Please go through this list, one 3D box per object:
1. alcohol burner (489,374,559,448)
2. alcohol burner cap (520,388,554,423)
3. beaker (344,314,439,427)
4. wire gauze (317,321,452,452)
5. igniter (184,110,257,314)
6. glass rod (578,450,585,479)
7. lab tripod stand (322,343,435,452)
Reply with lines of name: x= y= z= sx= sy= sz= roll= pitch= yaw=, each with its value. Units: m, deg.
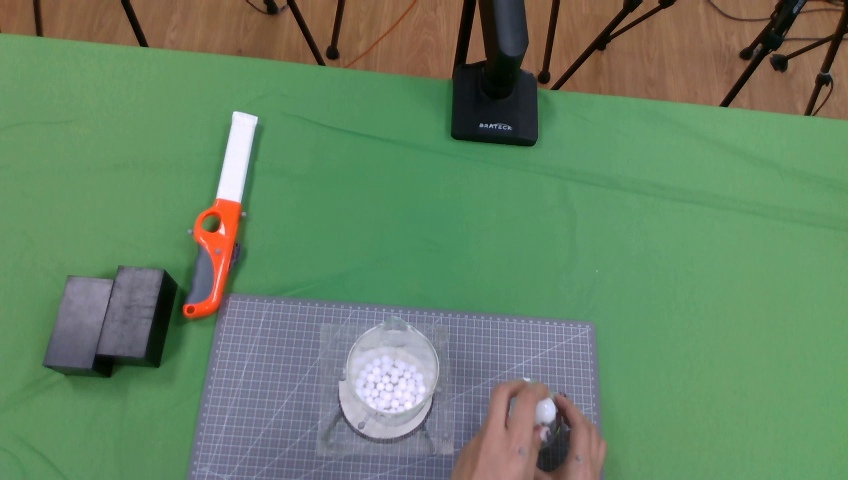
alcohol burner: x=0.110 y=0.178 z=0.643 sx=0.078 sy=0.120 sz=0.077 roll=2 pitch=65 yaw=-3
alcohol burner cap: x=0.112 y=0.161 z=0.586 sx=0.034 sy=0.048 sz=0.033 roll=-1 pitch=76 yaw=3
beaker: x=-0.029 y=0.117 z=0.519 sx=0.074 sy=0.101 sz=0.083 roll=2 pitch=65 yaw=-5
wire gauze: x=-0.037 y=0.134 z=0.564 sx=0.125 sy=0.011 sz=0.120 roll=1 pitch=65 yaw=-4
igniter: x=-0.246 y=-0.039 z=0.746 sx=0.057 sy=0.025 sz=0.274 roll=12 pitch=66 yaw=-17
glass rod: x=0.172 y=0.327 z=0.644 sx=0.008 sy=0.008 sz=0.198 roll=4 pitch=67 yaw=-4
lab tripod stand: x=-0.042 y=0.162 z=0.623 sx=0.148 sy=0.132 sz=0.147 roll=2 pitch=66 yaw=-3
